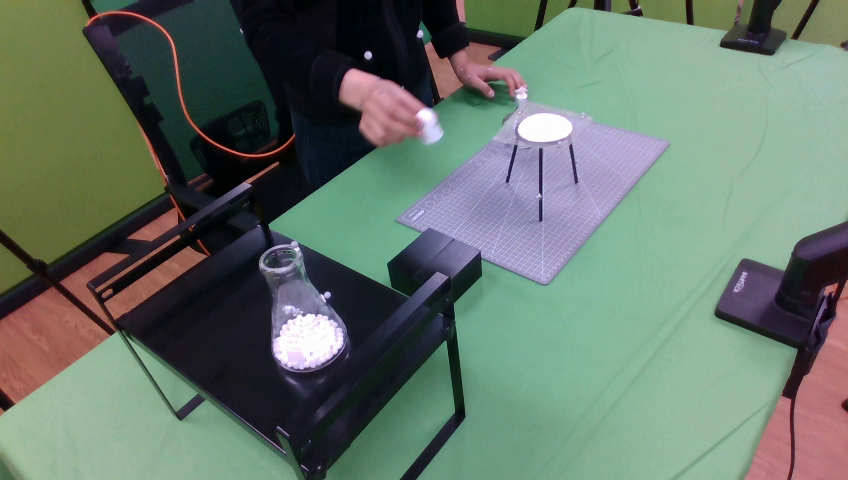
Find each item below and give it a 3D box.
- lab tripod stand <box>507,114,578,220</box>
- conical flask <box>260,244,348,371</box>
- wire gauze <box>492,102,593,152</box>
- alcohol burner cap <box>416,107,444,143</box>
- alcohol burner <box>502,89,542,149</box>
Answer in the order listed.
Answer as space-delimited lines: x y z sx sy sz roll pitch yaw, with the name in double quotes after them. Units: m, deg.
0.198 -0.128 1.005 0.148 0.132 0.147 -3 42 3 "lab tripod stand"
-0.118 0.060 0.565 0.075 0.122 0.075 -5 41 4 "conical flask"
0.190 -0.180 0.964 0.120 0.011 0.125 19 48 27 "wire gauze"
0.006 -0.165 0.858 0.034 0.048 0.033 -13 39 12 "alcohol burner cap"
0.186 -0.235 1.149 0.078 0.119 0.077 -5 42 5 "alcohol burner"
